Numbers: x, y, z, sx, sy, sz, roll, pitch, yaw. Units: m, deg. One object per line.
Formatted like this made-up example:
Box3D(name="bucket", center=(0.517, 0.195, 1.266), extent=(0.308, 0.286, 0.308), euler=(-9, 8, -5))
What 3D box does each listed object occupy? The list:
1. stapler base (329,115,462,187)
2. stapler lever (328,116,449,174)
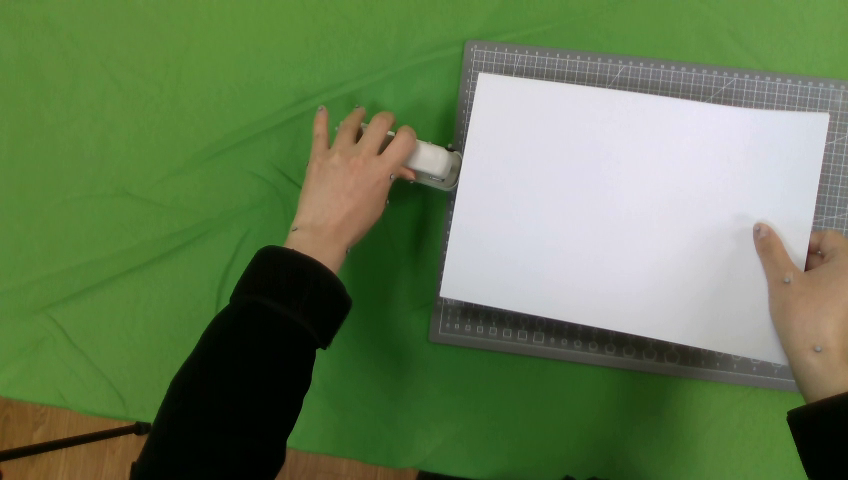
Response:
Box3D(name="stapler base", center=(-0.029, -0.088, 0.585), extent=(0.130, 0.024, 0.041), euler=(17, 88, 8))
Box3D(name="stapler lever", center=(-0.034, -0.089, 0.560), extent=(0.118, 0.040, 0.027), euler=(17, 88, 8))
